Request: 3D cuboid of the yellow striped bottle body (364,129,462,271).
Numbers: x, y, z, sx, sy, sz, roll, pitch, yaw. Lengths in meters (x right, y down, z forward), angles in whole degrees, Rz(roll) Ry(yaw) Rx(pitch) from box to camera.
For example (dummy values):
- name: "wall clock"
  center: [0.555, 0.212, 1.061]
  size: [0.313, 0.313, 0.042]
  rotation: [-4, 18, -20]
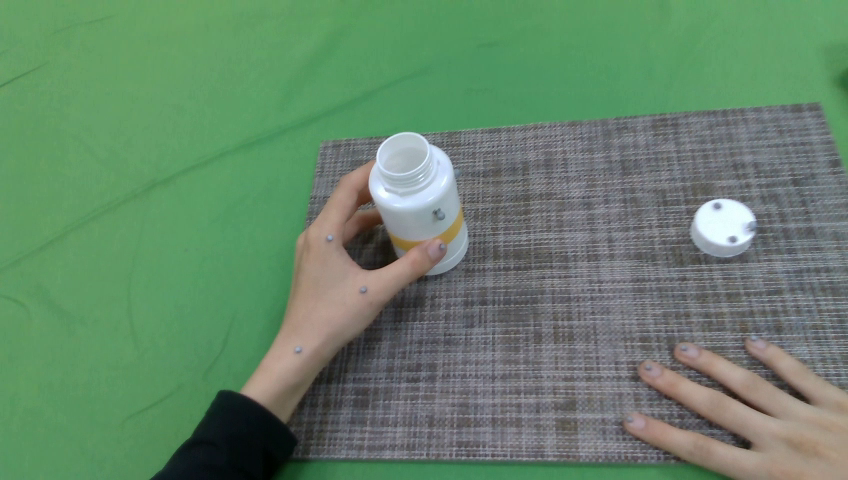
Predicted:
- name: "yellow striped bottle body"
  center: [-0.008, -0.031, 0.461]
  size: [0.063, 0.121, 0.062]
  rotation: [-5, 59, 8]

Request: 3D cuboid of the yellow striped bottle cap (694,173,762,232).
- name: "yellow striped bottle cap"
  center: [0.225, -0.028, 0.449]
  size: [0.044, 0.019, 0.044]
  rotation: [-7, 49, 9]
